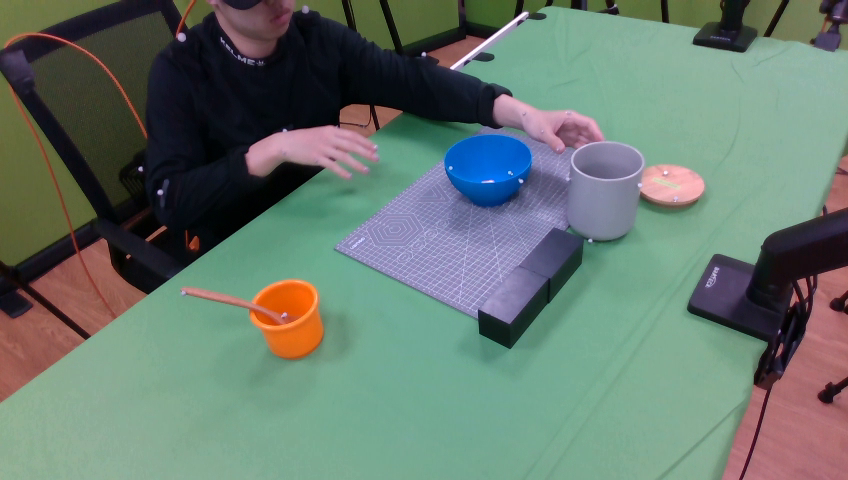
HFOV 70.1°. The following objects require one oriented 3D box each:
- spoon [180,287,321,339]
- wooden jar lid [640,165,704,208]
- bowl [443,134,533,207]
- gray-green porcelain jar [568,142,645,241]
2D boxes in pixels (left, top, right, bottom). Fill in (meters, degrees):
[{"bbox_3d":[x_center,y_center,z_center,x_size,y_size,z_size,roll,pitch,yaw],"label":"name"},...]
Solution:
[{"bbox_3d":[-0.223,0.093,0.796,0.021,0.195,0.041,-46,36,24],"label":"spoon"},{"bbox_3d":[0.410,-0.089,1.014,0.108,0.021,0.108,-5,42,5],"label":"wooden jar lid"},{"bbox_3d":[0.111,-0.109,1.033,0.151,0.077,0.150,-4,41,4],"label":"bowl"},{"bbox_3d":[0.277,-0.070,0.930,0.106,0.127,0.105,-4,41,4],"label":"gray-green porcelain jar"}]
